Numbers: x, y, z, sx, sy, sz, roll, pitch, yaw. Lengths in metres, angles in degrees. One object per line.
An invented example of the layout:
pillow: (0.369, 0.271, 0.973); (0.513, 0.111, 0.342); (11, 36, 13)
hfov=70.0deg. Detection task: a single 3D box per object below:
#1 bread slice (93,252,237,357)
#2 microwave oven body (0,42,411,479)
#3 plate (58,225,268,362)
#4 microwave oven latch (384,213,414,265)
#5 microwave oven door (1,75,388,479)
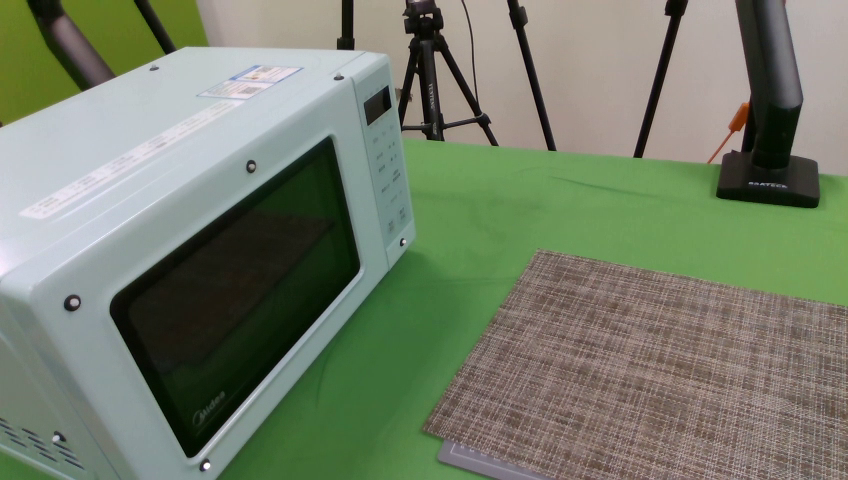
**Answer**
bread slice: (-0.266, 0.058, 0.636); (0.104, 0.019, 0.131); (17, 45, 31)
microwave oven body: (-0.261, -0.009, 0.632); (0.324, 0.262, 0.440); (10, 38, 24)
plate: (-0.263, 0.055, 0.632); (0.209, 0.038, 0.207); (-6, 33, 5)
microwave oven latch: (-0.039, -0.003, 0.753); (0.030, 0.030, 0.079); (10, 38, 25)
microwave oven door: (-0.148, 0.030, 0.538); (0.039, 0.246, 0.354); (9, 37, 25)
